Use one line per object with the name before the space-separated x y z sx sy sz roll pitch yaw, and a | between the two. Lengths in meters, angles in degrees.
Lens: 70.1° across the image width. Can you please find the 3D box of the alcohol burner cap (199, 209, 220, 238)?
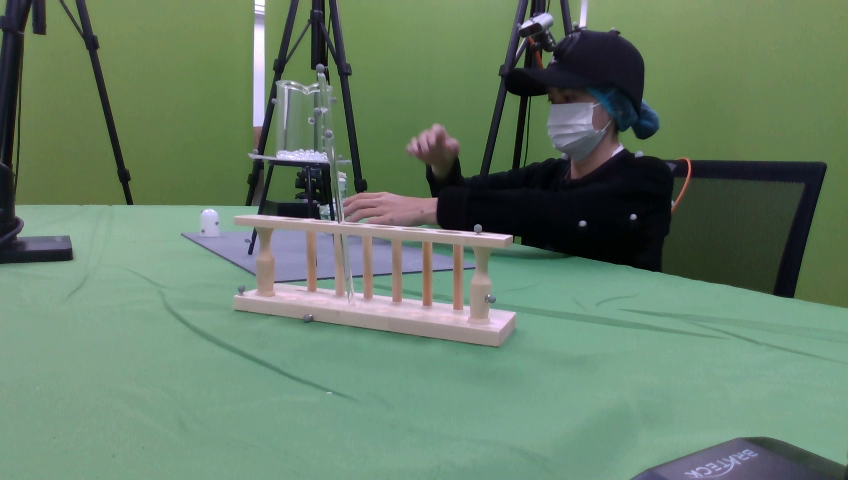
alcohol burner cap | -0.356 -0.027 1.002 0.034 0.048 0.034 2 7 0

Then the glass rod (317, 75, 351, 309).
glass rod | -0.075 -0.036 0.502 0.008 0.199 0.008 -5 8 1

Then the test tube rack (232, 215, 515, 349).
test tube rack | -0.045 0.028 0.525 0.242 0.085 0.067 5 8 19

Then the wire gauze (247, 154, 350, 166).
wire gauze | -0.170 -0.105 0.802 0.122 0.011 0.124 -1 11 -20

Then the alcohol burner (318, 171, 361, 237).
alcohol burner | -0.155 -0.066 1.104 0.078 0.119 0.078 1 8 0

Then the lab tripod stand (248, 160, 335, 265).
lab tripod stand | -0.165 -0.041 0.817 0.148 0.131 0.148 5 7 0

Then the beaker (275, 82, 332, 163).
beaker | -0.159 -0.152 0.795 0.074 0.100 0.083 1 8 -15
